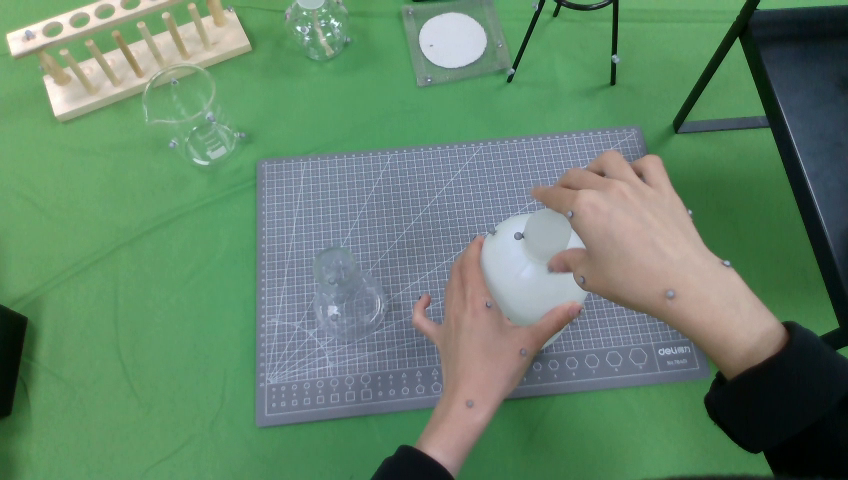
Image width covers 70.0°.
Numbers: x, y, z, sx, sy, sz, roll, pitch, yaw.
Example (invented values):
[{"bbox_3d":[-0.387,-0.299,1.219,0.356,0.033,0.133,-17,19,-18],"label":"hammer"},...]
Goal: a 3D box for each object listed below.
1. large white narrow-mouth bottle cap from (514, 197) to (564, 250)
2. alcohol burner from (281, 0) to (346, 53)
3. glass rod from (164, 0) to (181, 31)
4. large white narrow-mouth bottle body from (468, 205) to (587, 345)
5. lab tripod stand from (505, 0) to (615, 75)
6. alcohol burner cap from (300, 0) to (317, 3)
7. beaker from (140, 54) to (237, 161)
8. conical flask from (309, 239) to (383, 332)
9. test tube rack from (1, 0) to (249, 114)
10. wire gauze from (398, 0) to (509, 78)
[{"bbox_3d":[0.087,-0.012,0.459,0.038,0.024,0.037,-1,67,2],"label":"large white narrow-mouth bottle cap"},{"bbox_3d":[-0.133,-0.280,0.714,0.078,0.120,0.077,0,65,-1],"label":"alcohol burner"},{"bbox_3d":[-0.298,-0.303,0.666,0.008,0.201,0.008,2,65,-4],"label":"glass rod"},{"bbox_3d":[0.092,0.026,0.545,0.102,0.196,0.101,-1,67,2],"label":"large white narrow-mouth bottle body"},{"bbox_3d":[0.167,-0.262,0.697,0.148,0.132,0.147,1,67,-2],"label":"lab tripod stand"},{"bbox_3d":[-0.133,-0.296,0.681,0.034,0.048,0.033,4,66,-8],"label":"alcohol burner cap"},{"bbox_3d":[-0.254,-0.138,0.663,0.073,0.101,0.084,39,73,15],"label":"beaker"},{"bbox_3d":[-0.080,0.038,0.577,0.075,0.122,0.075,0,67,1],"label":"conical flask"},{"bbox_3d":[-0.342,-0.241,0.712,0.242,0.086,0.066,-24,70,-10],"label":"test tube rack"},{"bbox_3d":[0.036,-0.265,0.764,0.121,0.011,0.124,-10,68,-5],"label":"wire gauze"}]
